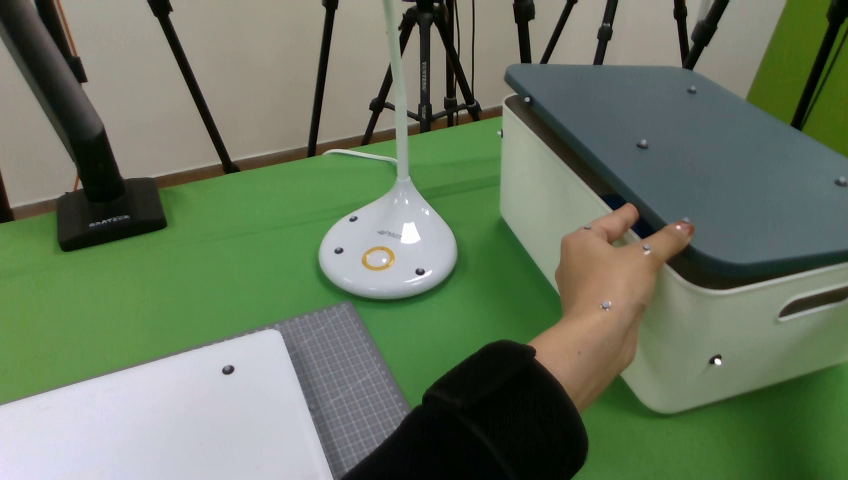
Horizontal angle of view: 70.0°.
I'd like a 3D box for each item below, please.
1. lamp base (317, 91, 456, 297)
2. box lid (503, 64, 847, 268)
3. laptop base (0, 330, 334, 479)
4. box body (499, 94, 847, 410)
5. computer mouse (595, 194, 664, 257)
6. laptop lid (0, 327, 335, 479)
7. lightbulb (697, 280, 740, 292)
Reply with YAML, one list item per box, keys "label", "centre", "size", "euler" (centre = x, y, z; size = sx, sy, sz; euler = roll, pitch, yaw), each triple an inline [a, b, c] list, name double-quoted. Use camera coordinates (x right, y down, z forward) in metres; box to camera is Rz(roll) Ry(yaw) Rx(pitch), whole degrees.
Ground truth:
- label: "lamp base"
  centre: [-0.041, -0.059, 0.663]
  size: [0.160, 0.182, 0.178]
  euler: [6, 35, 7]
- label: "box lid"
  centre: [0.257, -0.097, 0.581]
  size: [0.264, 0.015, 0.367]
  euler: [-5, 37, -19]
- label: "laptop base"
  centre: [-0.253, 0.198, 0.449]
  size: [0.355, 0.023, 0.232]
  euler: [-15, 43, -20]
- label: "box body"
  centre: [0.255, -0.022, 0.635]
  size: [0.255, 0.162, 0.359]
  euler: [-11, 39, -15]
- label: "computer mouse"
  centre: [0.233, -0.018, 0.724]
  size: [0.063, 0.041, 0.116]
  euler: [-9, 42, -17]
- label: "laptop lid"
  centre: [-0.252, 0.190, 0.440]
  size: [0.358, 0.013, 0.239]
  euler: [-14, 42, -19]
- label: "lightbulb"
  centre: [0.300, 0.086, 0.580]
  size: [0.059, 0.060, 0.107]
  euler: [-25, 64, -30]
